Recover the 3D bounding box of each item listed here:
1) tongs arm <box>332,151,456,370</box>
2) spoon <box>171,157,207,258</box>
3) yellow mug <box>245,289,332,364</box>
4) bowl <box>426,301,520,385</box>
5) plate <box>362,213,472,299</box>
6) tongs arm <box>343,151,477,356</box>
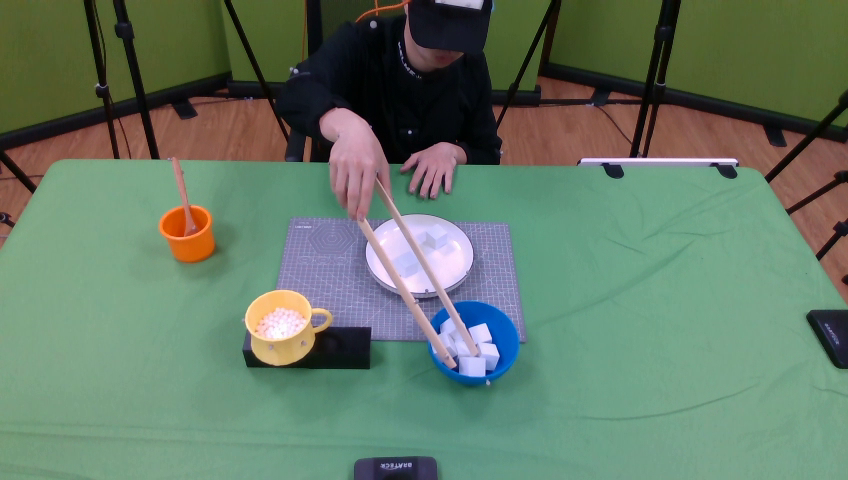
[{"bbox_3d":[-0.046,0.028,0.961,0.051,0.026,0.384,-30,82,-30],"label":"tongs arm"},{"bbox_3d":[-0.444,-0.061,1.133,0.042,0.194,0.021,-12,5,-19],"label":"spoon"},{"bbox_3d":[-0.210,0.132,0.954,0.131,0.064,0.099,-9,48,-14],"label":"yellow mug"},{"bbox_3d":[0.075,0.182,0.991,0.151,0.077,0.150,3,46,-2],"label":"bowl"},{"bbox_3d":[-0.014,0.034,1.150,0.208,0.039,0.206,3,46,-2],"label":"plate"},{"bbox_3d":[-0.022,0.018,0.976,0.028,0.028,0.386,-28,81,-26],"label":"tongs arm"}]
